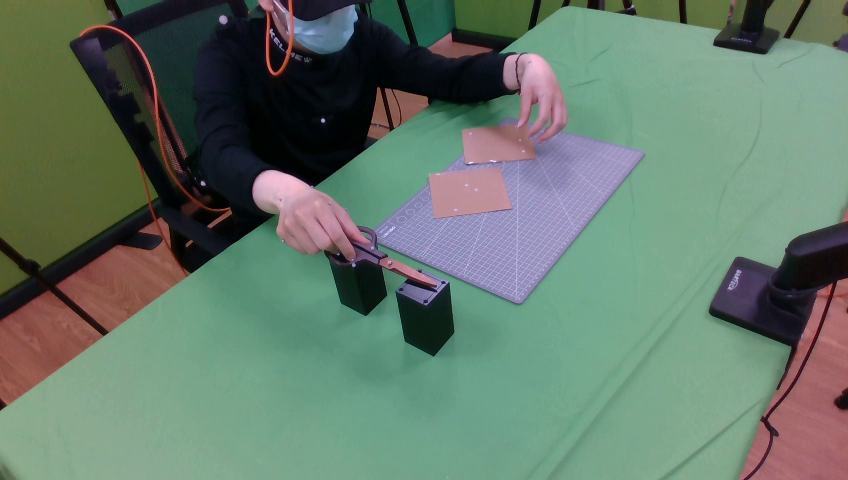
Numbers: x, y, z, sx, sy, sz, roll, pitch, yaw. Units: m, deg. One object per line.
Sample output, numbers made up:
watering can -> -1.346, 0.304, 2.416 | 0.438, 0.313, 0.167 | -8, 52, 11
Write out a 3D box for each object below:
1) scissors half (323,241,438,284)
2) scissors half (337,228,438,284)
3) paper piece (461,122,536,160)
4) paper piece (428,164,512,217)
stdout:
scissors half -> -0.059, 0.033, 0.786 | 0.174, 0.013, 0.040 | 13, 43, 23
scissors half -> -0.049, 0.021, 0.798 | 0.174, 0.013, 0.040 | 28, 55, 33
paper piece -> 0.143, -0.193, 1.182 | 0.136, 0.009, 0.137 | -2, 39, 1
paper piece -> 0.078, -0.091, 1.069 | 0.135, 0.004, 0.135 | -6, 40, 0
